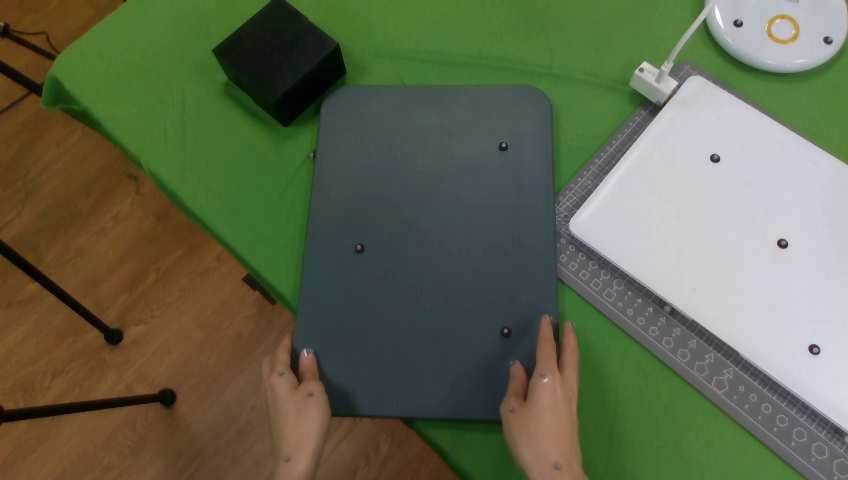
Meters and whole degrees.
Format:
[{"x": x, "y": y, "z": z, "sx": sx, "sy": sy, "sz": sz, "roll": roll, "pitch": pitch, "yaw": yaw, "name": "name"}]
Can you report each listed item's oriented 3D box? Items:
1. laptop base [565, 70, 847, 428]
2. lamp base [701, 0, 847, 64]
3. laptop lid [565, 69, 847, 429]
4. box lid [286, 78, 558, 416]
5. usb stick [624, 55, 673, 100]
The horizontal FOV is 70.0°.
[{"x": 0.349, "y": 0.002, "z": 0.607, "sx": 0.352, "sy": 0.023, "sz": 0.235, "roll": 38, "pitch": 80, "yaw": 14, "name": "laptop base"}, {"x": 0.398, "y": -0.309, "z": 0.630, "sx": 0.160, "sy": 0.181, "sz": 0.178, "roll": 2, "pitch": 68, "yaw": 3, "name": "lamp base"}, {"x": 0.347, "y": -0.001, "z": 0.596, "sx": 0.355, "sy": 0.013, "sz": 0.241, "roll": 40, "pitch": 79, "yaw": 15, "name": "laptop lid"}, {"x": 0.003, "y": -0.011, "z": 0.631, "sx": 0.263, "sy": 0.015, "sz": 0.369, "roll": 1, "pitch": 71, "yaw": 3, "name": "box lid"}, {"x": 0.250, "y": -0.173, "z": 0.659, "sx": 0.059, "sy": 0.027, "sz": 0.021, "roll": 42, "pitch": 72, "yaw": 12, "name": "usb stick"}]
